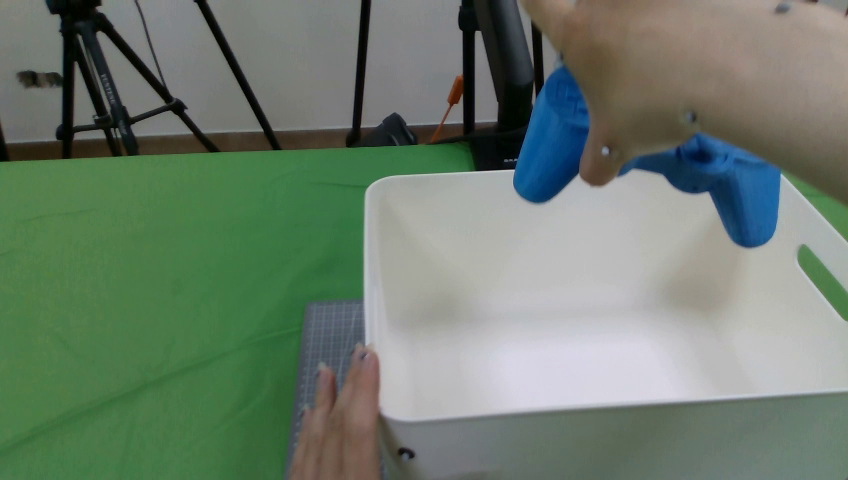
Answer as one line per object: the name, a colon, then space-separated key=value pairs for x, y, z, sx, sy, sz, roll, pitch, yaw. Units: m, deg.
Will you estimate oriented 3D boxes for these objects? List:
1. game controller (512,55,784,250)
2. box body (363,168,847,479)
game controller: x=0.136 y=-0.057 z=0.358 sx=0.155 sy=0.052 sz=0.096 roll=13 pitch=64 yaw=0
box body: x=0.139 y=0.075 z=0.493 sx=0.364 sy=0.162 sz=0.251 roll=-3 pitch=39 yaw=-3
